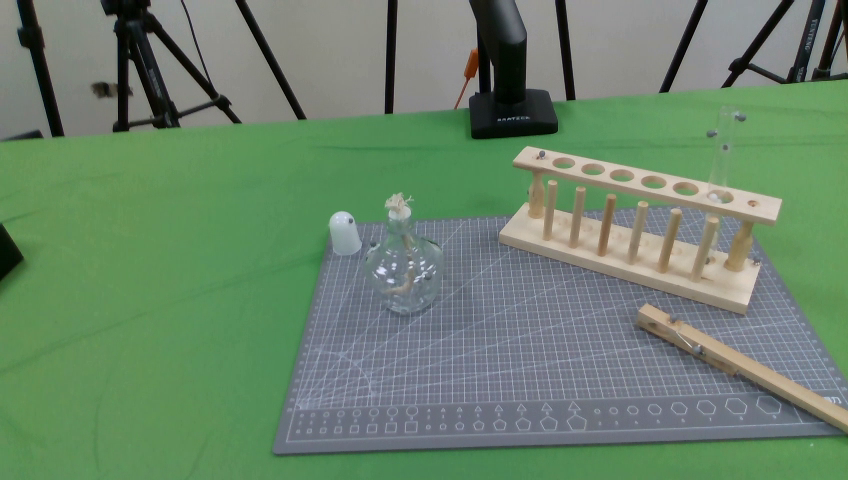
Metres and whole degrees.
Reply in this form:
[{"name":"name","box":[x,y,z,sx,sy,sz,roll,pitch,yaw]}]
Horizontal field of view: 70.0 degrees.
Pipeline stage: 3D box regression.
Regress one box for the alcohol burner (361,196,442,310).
[{"name":"alcohol burner","box":[-0.022,0.008,0.561,0.078,0.120,0.077,-3,39,3]}]

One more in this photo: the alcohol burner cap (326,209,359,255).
[{"name":"alcohol burner cap","box":[-0.089,-0.011,0.654,0.034,0.048,0.033,-3,39,3]}]

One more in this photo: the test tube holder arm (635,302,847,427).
[{"name":"test tube holder arm","box":[0.252,0.096,0.483,0.176,0.013,0.015,29,55,35]}]

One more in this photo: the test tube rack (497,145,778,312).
[{"name":"test tube rack","box":[0.193,-0.018,0.587,0.240,0.086,0.066,18,44,28]}]

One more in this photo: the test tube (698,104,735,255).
[{"name":"test tube","box":[0.257,-0.048,0.536,0.017,0.151,0.017,-7,35,5]}]

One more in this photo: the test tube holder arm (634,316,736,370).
[{"name":"test tube holder arm","box":[0.221,0.084,0.514,0.087,0.010,0.015,24,52,40]}]
